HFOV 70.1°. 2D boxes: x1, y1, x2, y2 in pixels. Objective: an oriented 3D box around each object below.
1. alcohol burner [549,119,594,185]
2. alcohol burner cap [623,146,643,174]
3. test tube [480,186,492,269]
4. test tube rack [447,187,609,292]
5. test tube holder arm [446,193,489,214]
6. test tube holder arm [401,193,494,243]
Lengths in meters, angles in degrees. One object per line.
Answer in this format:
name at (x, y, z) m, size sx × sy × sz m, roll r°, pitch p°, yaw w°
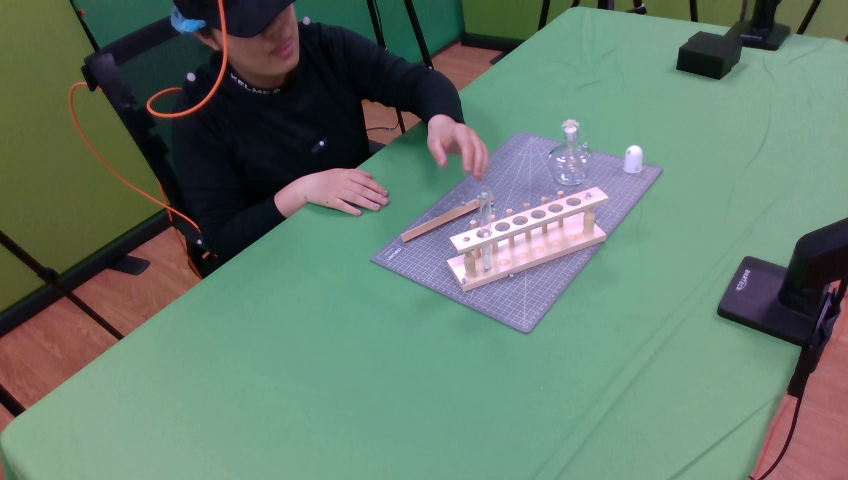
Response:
alcohol burner at (0.254, -0.155, 1.043) m, size 0.078 × 0.120 × 0.077 m, roll -7°, pitch 40°, yaw 6°
alcohol burner cap at (0.369, -0.142, 1.061) m, size 0.034 × 0.048 × 0.033 m, roll -6°, pitch 40°, yaw 6°
test tube at (0.088, -0.014, 0.852) m, size 0.017 × 0.151 × 0.017 m, roll -3°, pitch 42°, yaw 3°
test tube rack at (0.155, -0.011, 0.913) m, size 0.243 × 0.085 × 0.066 m, roll -19°, pitch 41°, yaw -11°
test tube holder arm at (0.078, -0.058, 1.037) m, size 0.088 × 0.015 × 0.010 m, roll -26°, pitch 9°, yaw -18°
test tube holder arm at (0.042, -0.039, 1.018) m, size 0.179 × 0.015 × 0.013 m, roll -26°, pitch 9°, yaw -19°
